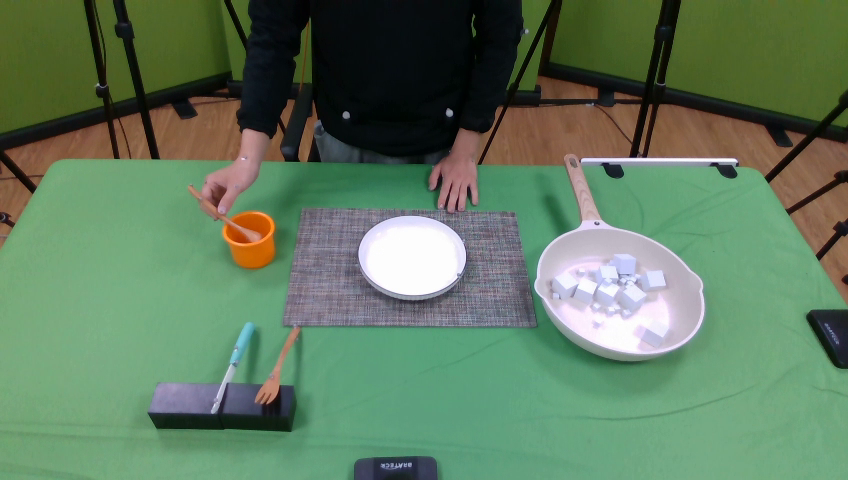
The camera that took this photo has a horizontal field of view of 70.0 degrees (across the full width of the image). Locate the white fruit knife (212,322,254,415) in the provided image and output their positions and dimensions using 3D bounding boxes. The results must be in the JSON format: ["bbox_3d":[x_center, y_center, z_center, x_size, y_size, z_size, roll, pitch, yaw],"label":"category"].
[{"bbox_3d":[-0.298,0.193,0.947,0.016,0.027,0.206,2,31,-1],"label":"white fruit knife"}]

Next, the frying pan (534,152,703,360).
[{"bbox_3d":[0.335,0.013,1.154,0.307,0.103,0.484,-1,55,-7],"label":"frying pan"}]

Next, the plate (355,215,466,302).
[{"bbox_3d":[-0.025,0.038,1.143,0.208,0.039,0.206,3,46,-2],"label":"plate"}]

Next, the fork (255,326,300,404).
[{"bbox_3d":[-0.226,0.192,0.955,0.028,0.019,0.206,-1,27,5],"label":"fork"}]

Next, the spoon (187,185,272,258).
[{"bbox_3d":[-0.354,-0.033,1.107,0.194,0.021,0.041,40,39,-22],"label":"spoon"}]
